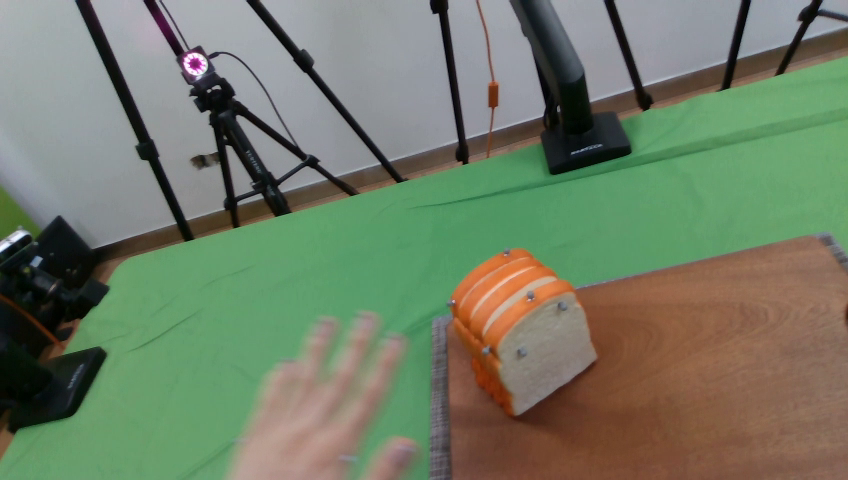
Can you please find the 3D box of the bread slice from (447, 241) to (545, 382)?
[{"bbox_3d":[0.080,0.066,0.583,0.107,0.135,0.018,-30,35,-12],"label":"bread slice"}]

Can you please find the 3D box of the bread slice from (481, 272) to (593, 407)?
[{"bbox_3d":[0.102,0.090,0.544,0.105,0.133,0.019,-34,44,-10],"label":"bread slice"}]
